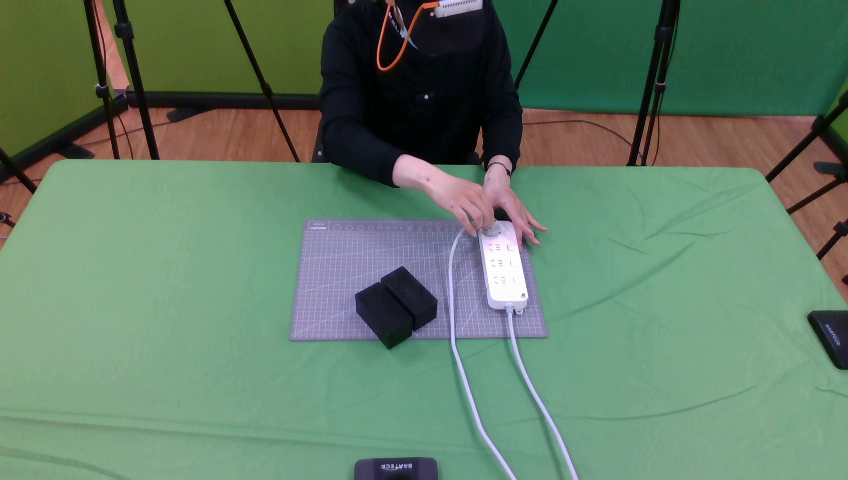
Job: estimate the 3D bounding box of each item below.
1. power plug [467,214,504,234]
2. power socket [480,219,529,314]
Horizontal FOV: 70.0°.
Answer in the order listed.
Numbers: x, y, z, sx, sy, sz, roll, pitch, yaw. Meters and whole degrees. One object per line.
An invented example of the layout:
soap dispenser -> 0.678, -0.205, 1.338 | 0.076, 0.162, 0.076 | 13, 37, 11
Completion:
power plug -> 0.119, -0.030, 1.184 | 0.072, 0.053, 0.035 | 8, 46, 3
power socket -> 0.151, 0.041, 1.151 | 0.072, 0.033, 0.225 | 0, 47, -2
